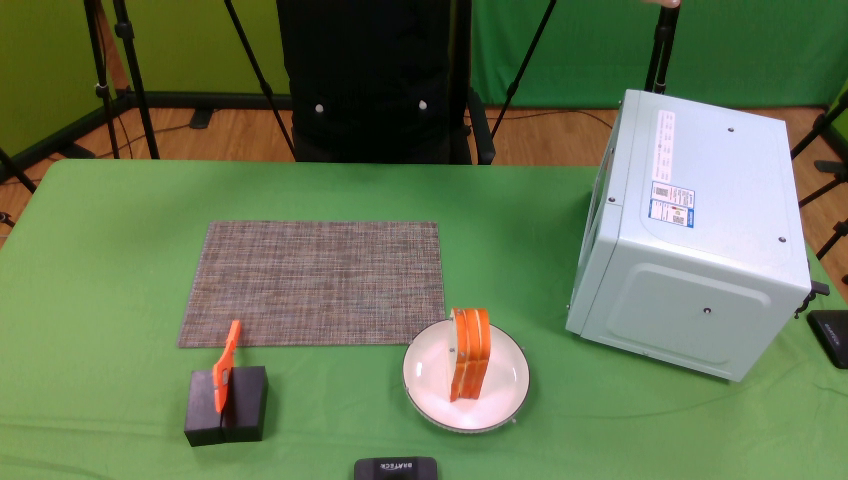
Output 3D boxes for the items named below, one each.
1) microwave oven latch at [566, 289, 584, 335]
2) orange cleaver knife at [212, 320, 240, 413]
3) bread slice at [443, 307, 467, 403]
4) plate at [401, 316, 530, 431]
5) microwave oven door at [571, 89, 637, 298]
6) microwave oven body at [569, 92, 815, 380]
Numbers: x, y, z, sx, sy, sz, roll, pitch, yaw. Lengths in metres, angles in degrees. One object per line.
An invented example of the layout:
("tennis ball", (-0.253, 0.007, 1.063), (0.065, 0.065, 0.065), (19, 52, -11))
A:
("microwave oven latch", (0.267, 0.126, 1.059), (0.030, 0.029, 0.079), (15, 46, 11))
("orange cleaver knife", (-0.306, 0.190, 0.944), (0.012, 0.077, 0.210), (-4, 17, -7))
("bread slice", (0.048, 0.171, 0.948), (0.018, 0.135, 0.106), (0, 42, -7))
("plate", (0.066, 0.217, 0.982), (0.208, 0.039, 0.206), (2, 46, -2))
("microwave oven door", (0.343, -0.091, 1.133), (0.039, 0.245, 0.354), (15, 47, 10))
("microwave oven body", (0.468, -0.022, 1.082), (0.325, 0.261, 0.440), (15, 46, 11))
